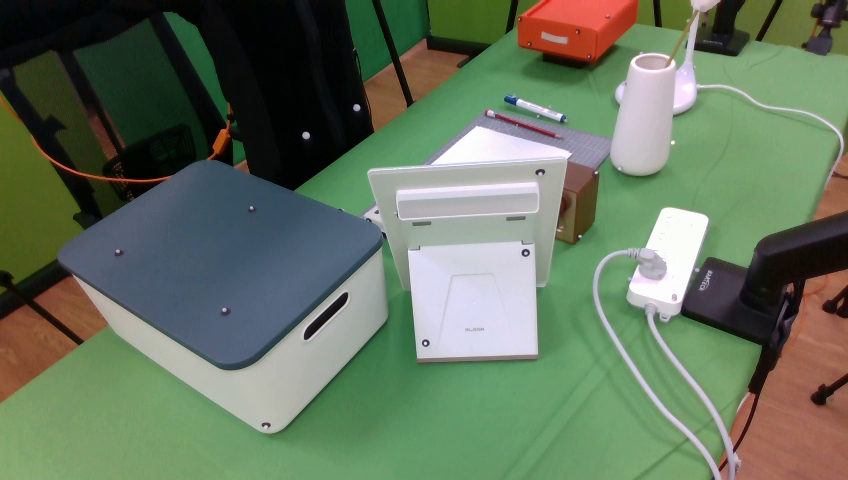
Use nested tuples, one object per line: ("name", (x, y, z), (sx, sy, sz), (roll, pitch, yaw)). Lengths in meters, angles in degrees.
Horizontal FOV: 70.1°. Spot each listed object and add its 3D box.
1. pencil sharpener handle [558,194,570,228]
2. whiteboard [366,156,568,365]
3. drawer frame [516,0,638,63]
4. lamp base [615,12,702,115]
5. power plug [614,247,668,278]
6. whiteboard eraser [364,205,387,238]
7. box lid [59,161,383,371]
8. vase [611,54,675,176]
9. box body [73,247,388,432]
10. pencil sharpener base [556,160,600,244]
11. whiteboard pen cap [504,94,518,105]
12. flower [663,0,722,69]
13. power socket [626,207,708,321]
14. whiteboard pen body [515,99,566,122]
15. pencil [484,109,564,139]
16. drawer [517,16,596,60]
("pencil sharpener handle", (0.195, -0.038, 0.908), (0.035, 0.068, 0.031), (24, 50, 30))
("whiteboard", (0.059, 0.050, 0.738), (0.217, 0.307, 0.143), (-2, 60, 6))
("drawer frame", (0.355, -0.508, 1.410), (0.200, 0.083, 0.214), (23, 51, 32))
("lamp base", (0.484, -0.363, 1.211), (0.180, 0.181, 0.159), (-15, 41, -14))
("power plug", (0.306, 0.031, 0.851), (0.072, 0.053, 0.035), (24, 49, 33))
("whiteboard eraser", (-0.040, -0.025, 0.991), (0.112, 0.042, 0.056), (21, 49, 29))
("box lid", (-0.262, 0.010, 0.777), (0.369, 0.015, 0.264), (21, 48, 29))
("vase", (0.377, -0.209, 1.031), (0.098, 0.201, 0.097), (-3, 40, 3))
("box body", (-0.255, 0.065, 0.827), (0.361, 0.161, 0.255), (21, 48, 29))
("pencil sharpener base", (0.228, -0.057, 0.945), (0.061, 0.107, 0.077), (24, 50, 31))
("whiteboard pen cap", (0.189, -0.299, 1.292), (0.033, 0.018, 0.018), (30, 52, 28))
("flower", (0.379, -0.261, 0.965), (0.044, 0.362, 0.038), (20, 53, 5))
("power socket", (0.359, 0.025, 0.886), (0.072, 0.033, 0.227), (16, 46, 26))
("whiteboard pen body", (0.234, -0.274, 1.262), (0.139, 0.017, 0.017), (28, 51, 29))
("pencil", (0.201, -0.235, 1.229), (0.192, 0.012, 0.012), (28, 51, 32))
("drawer", (0.353, -0.506, 1.405), (0.193, 0.073, 0.212), (23, 49, 32))
